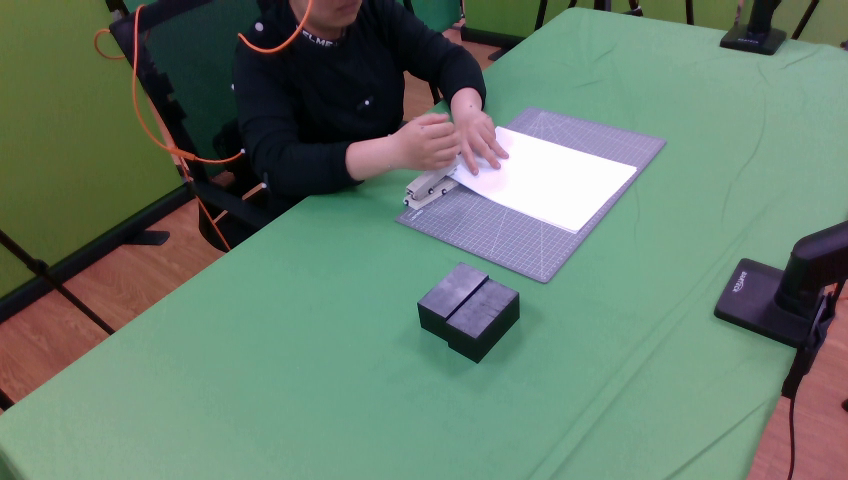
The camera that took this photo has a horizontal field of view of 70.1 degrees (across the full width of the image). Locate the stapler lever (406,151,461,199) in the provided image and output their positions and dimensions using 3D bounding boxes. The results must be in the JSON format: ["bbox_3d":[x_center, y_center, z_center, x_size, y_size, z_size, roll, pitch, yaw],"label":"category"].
[{"bbox_3d":[0.017,-0.118,1.070,0.118,0.040,0.026,-36,45,-27],"label":"stapler lever"}]

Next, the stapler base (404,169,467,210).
[{"bbox_3d":[0.022,-0.100,1.087,0.131,0.024,0.041,-35,45,-27],"label":"stapler base"}]
